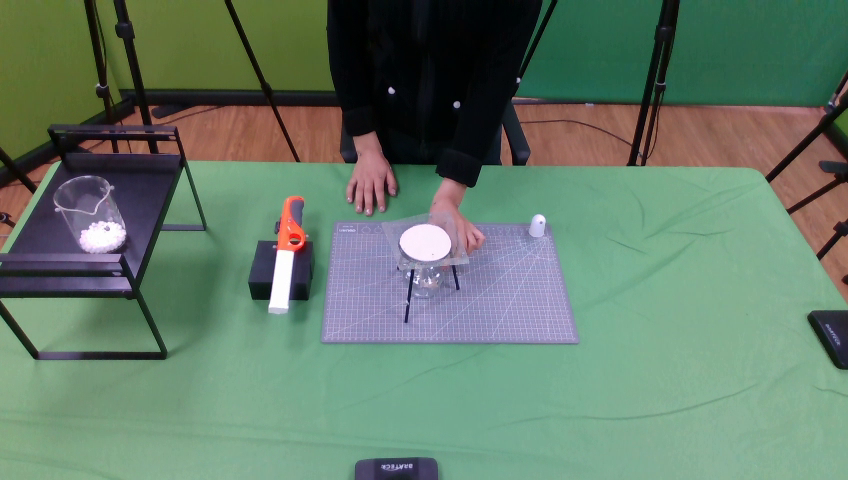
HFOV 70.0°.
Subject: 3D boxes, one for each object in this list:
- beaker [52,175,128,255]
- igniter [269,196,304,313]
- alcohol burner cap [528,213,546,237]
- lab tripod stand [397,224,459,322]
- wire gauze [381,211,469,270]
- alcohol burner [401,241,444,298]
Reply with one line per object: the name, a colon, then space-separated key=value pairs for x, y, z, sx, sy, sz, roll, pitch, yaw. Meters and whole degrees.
beaker: x=-0.482 y=-0.032 z=0.888 sx=0.074 sy=0.101 sz=0.083 roll=-28 pitch=55 yaw=-27
igniter: x=-0.249 y=0.016 z=1.095 sx=0.057 sy=0.025 sz=0.274 roll=8 pitch=46 yaw=-13
alcohol burner cap: x=0.231 y=-0.033 z=1.230 sx=0.034 sy=0.048 sz=0.033 roll=3 pitch=48 yaw=-3
lab tripod stand: x=-0.004 y=0.053 z=1.066 sx=0.148 sy=0.132 sz=0.147 roll=3 pitch=48 yaw=-3
wire gauze: x=0.000 y=0.001 z=1.023 sx=0.125 sy=0.011 sz=0.120 roll=-9 pitch=48 yaw=-13
alcohol burner: x=-0.002 y=0.048 z=1.084 sx=0.078 sy=0.119 sz=0.077 roll=2 pitch=44 yaw=-2
